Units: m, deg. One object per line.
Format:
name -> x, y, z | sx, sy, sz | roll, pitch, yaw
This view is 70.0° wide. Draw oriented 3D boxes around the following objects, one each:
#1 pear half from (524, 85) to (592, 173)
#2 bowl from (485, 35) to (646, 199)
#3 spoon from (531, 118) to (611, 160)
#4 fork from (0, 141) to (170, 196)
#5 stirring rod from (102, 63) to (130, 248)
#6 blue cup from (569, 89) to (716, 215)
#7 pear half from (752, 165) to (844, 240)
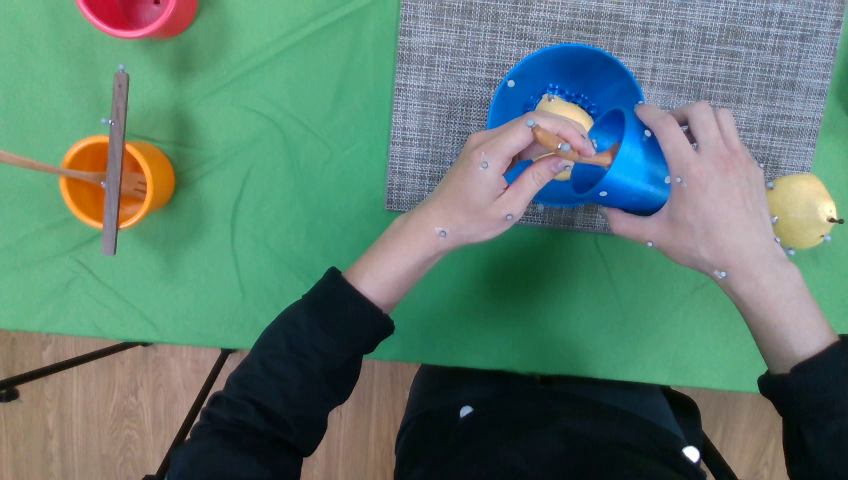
pear half -> 0.135, -0.111, 0.594 | 0.070, 0.031, 0.088 | -21, 97, 0
bowl -> 0.132, -0.119, 0.599 | 0.151, 0.076, 0.152 | 0, 102, 0
spoon -> 0.128, -0.070, 0.464 | 0.021, 0.195, 0.041 | -28, 74, 37
fork -> -0.345, -0.075, 0.574 | 0.209, 0.018, 0.028 | 14, 116, -48
stirring rod -> -0.292, -0.077, 0.573 | 0.014, 0.006, 0.176 | 10, 103, -5
blue cup -> 0.193, -0.066, 0.527 | 0.100, 0.092, 0.093 | 20, 102, -11
pear half -> 0.369, -0.034, 0.603 | 0.056, 0.109, 0.076 | -13, 98, 3
